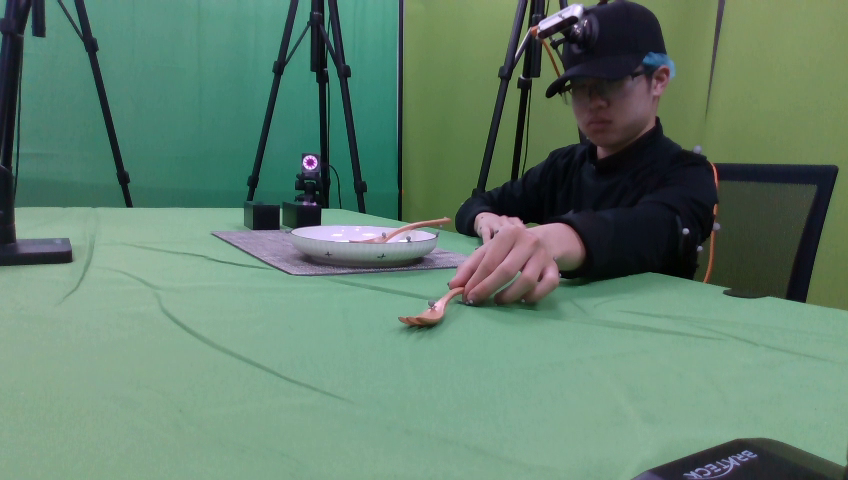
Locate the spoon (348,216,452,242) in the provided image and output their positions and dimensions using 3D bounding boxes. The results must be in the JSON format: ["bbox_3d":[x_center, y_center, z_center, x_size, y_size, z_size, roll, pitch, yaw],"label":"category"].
[{"bbox_3d":[-0.030,-0.016,0.923,0.195,0.021,0.041,-19,15,-36],"label":"spoon"}]

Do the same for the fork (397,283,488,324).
[{"bbox_3d":[0.027,0.058,0.583,0.028,0.018,0.208,-10,3,24],"label":"fork"}]

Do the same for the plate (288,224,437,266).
[{"bbox_3d":[-0.086,0.007,0.852,0.208,0.039,0.207,2,7,0],"label":"plate"}]
